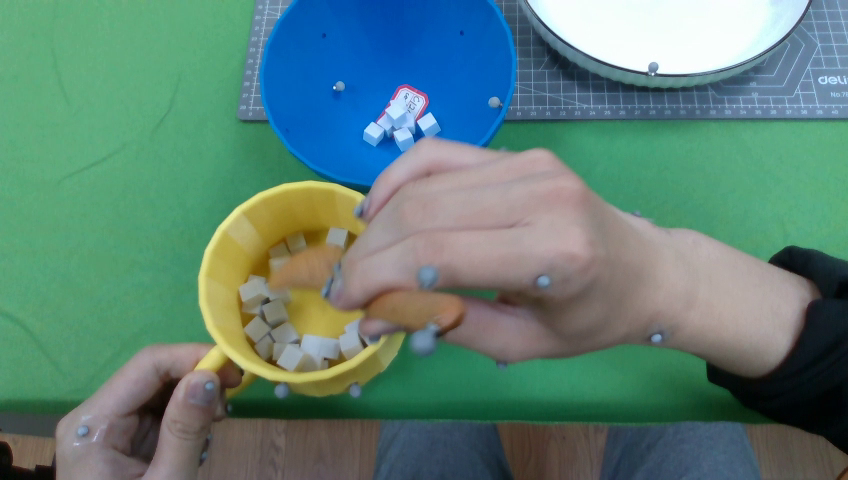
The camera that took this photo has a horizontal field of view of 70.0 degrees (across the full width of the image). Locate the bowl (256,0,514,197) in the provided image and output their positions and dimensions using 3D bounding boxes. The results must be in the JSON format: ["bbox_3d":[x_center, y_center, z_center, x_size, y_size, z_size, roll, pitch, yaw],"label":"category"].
[{"bbox_3d":[-0.020,-0.088,0.386,0.151,0.077,0.150,-1,73,4],"label":"bowl"}]

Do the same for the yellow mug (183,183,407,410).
[{"bbox_3d":[-0.069,0.039,0.312,0.099,0.064,0.130,43,76,12],"label":"yellow mug"}]

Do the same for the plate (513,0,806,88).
[{"bbox_3d":[0.160,-0.193,0.433,0.209,0.038,0.207,-1,69,3],"label":"plate"}]

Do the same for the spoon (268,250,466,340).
[{"bbox_3d":[-0.028,0.020,0.235,0.041,0.192,0.022,-31,105,-21],"label":"spoon"}]
